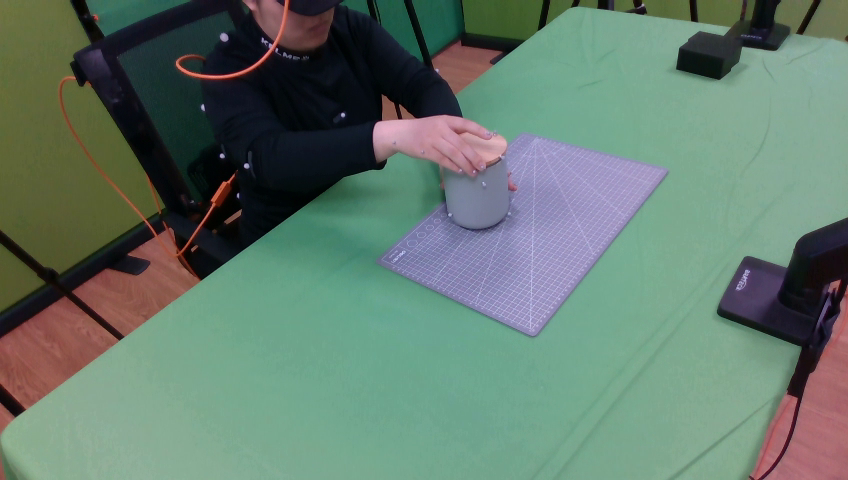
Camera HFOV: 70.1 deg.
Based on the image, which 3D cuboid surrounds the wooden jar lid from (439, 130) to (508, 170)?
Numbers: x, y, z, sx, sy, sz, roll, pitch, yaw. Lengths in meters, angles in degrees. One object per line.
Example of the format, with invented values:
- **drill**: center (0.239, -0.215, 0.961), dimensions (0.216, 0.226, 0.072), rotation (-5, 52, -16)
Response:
- **wooden jar lid**: center (0.077, -0.138, 0.946), dimensions (0.108, 0.021, 0.108), rotation (-5, 38, 4)

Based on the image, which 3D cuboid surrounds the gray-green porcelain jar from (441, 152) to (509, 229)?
- **gray-green porcelain jar**: center (0.086, -0.090, 0.988), dimensions (0.106, 0.127, 0.105), rotation (-5, 40, 5)
